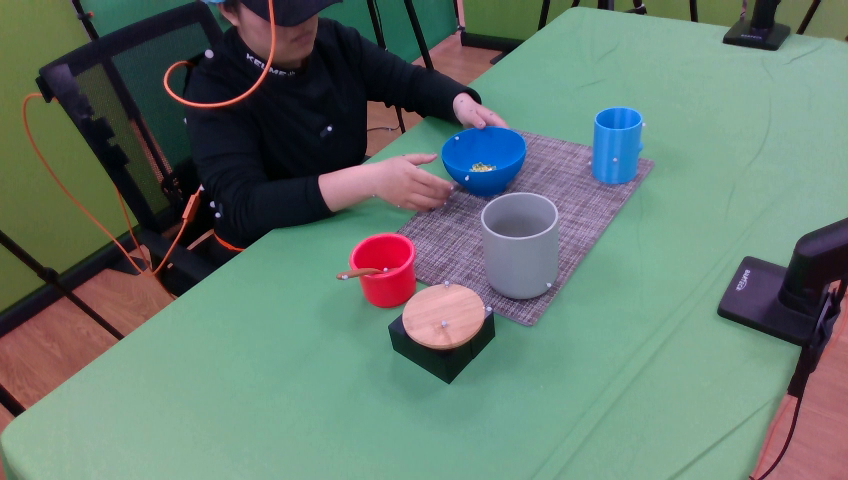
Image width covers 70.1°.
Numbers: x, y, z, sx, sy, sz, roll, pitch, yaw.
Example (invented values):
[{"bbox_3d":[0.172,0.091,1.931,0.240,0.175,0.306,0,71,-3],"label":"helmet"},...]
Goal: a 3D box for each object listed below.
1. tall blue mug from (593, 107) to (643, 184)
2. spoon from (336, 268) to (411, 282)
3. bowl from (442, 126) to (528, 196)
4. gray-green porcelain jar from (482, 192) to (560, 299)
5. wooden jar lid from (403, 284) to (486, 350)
[{"bbox_3d":[0.330,-0.172,1.052,0.078,0.108,0.106,-12,40,0],"label":"tall blue mug"},{"bbox_3d":[-0.071,0.047,0.850,0.041,0.195,0.021,19,93,24],"label":"spoon"},{"bbox_3d":[0.109,-0.131,1.072,0.151,0.077,0.150,-5,40,5],"label":"bowl"},{"bbox_3d":[0.139,0.012,0.858,0.106,0.127,0.105,-6,40,5],"label":"gray-green porcelain jar"},{"bbox_3d":[0.027,0.101,0.786,0.108,0.021,0.108,-5,39,4],"label":"wooden jar lid"}]
